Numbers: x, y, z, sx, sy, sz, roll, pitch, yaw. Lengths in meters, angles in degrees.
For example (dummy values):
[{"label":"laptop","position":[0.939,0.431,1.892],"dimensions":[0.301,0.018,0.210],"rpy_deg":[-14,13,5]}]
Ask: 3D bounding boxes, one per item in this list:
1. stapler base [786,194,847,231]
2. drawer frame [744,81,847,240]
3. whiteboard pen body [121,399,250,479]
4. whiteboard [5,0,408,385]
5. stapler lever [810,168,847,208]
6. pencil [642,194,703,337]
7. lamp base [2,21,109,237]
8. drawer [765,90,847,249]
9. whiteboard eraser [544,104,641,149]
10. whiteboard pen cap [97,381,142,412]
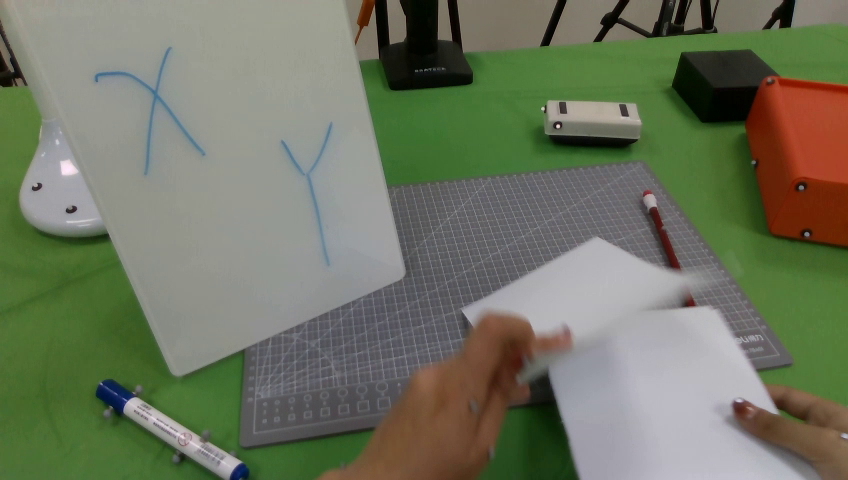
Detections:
[{"label":"stapler base","position":[0.447,-0.030,0.623],"dimensions":[0.130,0.024,0.041],"rpy_deg":[9,57,8]},{"label":"drawer frame","position":[0.471,-0.079,0.652],"dimensions":[0.201,0.083,0.212],"rpy_deg":[9,42,10]},{"label":"whiteboard pen body","position":[-0.184,0.142,0.444],"dimensions":[0.140,0.017,0.017],"rpy_deg":[20,46,22]},{"label":"whiteboard","position":[-0.166,-0.077,0.517],"dimensions":[0.217,0.308,0.142],"rpy_deg":[-22,27,-22]},{"label":"stapler lever","position":[0.448,-0.045,0.602],"dimensions":[0.118,0.040,0.026],"rpy_deg":[9,57,7]},{"label":"pencil","position":[0.241,0.018,0.591],"dimensions":[0.012,0.012,0.192],"rpy_deg":[1,43,0]},{"label":"lamp base","position":[-0.358,-0.119,0.611],"dimensions":[0.178,0.182,0.160],"rpy_deg":[21,46,25]},{"label":"drawer","position":[0.471,-0.076,0.649],"dimensions":[0.194,0.074,0.210],"rpy_deg":[10,42,11]},{"label":"whiteboard eraser","position":[0.205,-0.139,0.747],"dimensions":[0.112,0.042,0.055],"rpy_deg":[4,44,4]},{"label":"whiteboard pen cap","position":[-0.234,0.122,0.466],"dimensions":[0.033,0.018,0.018],"rpy_deg":[20,45,24]}]
